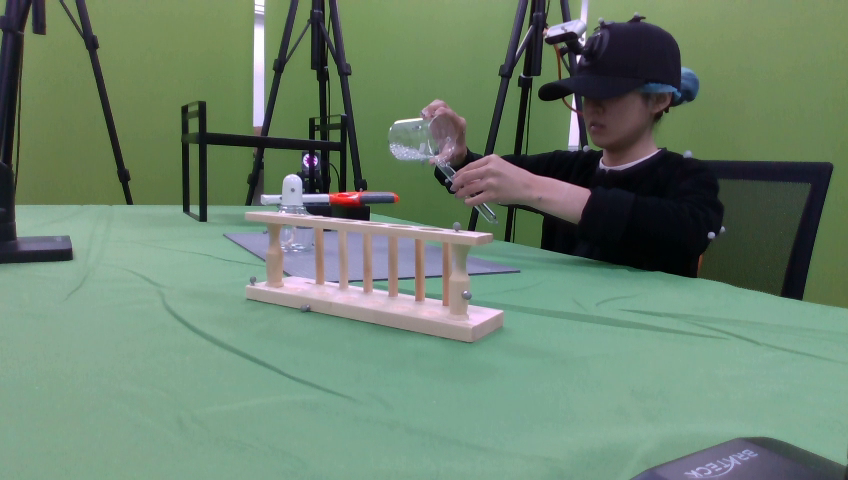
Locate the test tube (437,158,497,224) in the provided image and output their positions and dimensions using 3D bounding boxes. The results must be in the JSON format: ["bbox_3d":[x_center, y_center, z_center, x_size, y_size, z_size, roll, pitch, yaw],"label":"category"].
[{"bbox_3d":[0.068,-0.079,0.963,0.017,0.017,0.149,-5,47,-47],"label":"test tube"}]

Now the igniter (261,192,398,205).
[{"bbox_3d":[-0.185,-0.083,1.217,0.278,0.025,0.057,-2,12,-25],"label":"igniter"}]

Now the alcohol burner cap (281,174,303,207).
[{"bbox_3d":[-0.193,-0.072,0.884,0.034,0.048,0.034,1,5,0],"label":"alcohol burner cap"}]

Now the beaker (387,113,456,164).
[{"bbox_3d":[-0.007,-0.169,1.027,0.100,0.084,0.074,4,-2,41],"label":"beaker"}]

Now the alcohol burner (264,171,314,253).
[{"bbox_3d":[-0.194,-0.042,0.888,0.078,0.119,0.078,3,5,0],"label":"alcohol burner"}]

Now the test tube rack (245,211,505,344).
[{"bbox_3d":[-0.049,0.025,0.547,0.241,0.085,0.067,7,8,29],"label":"test tube rack"}]
